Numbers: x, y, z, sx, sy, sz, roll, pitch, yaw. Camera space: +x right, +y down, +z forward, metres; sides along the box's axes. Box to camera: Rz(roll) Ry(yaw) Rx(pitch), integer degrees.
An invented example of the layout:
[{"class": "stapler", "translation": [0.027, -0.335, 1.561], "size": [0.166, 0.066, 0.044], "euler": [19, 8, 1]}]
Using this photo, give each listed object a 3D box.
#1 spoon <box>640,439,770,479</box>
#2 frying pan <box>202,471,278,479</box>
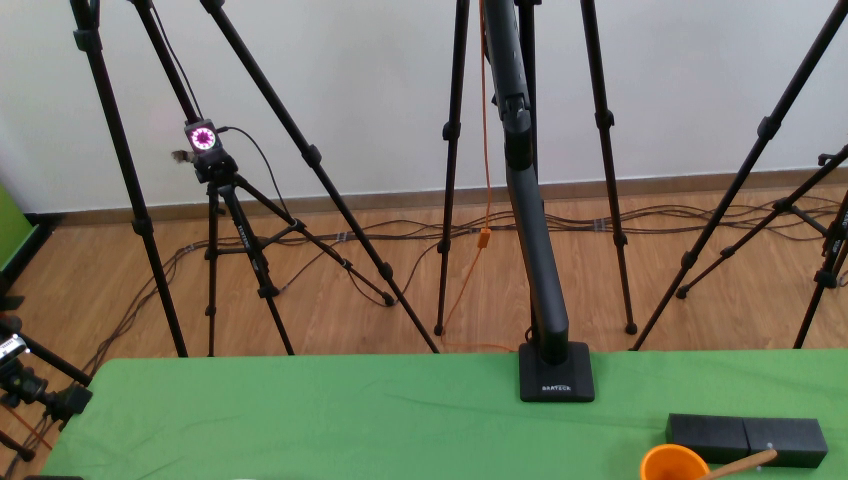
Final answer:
[{"class": "spoon", "translation": [0.365, 0.304, 0.801], "size": [0.022, 0.194, 0.041], "euler": [25, 41, -26]}, {"class": "frying pan", "translation": [-0.283, 0.523, 0.729], "size": [0.306, 0.103, 0.483], "euler": [-3, 35, 9]}]
